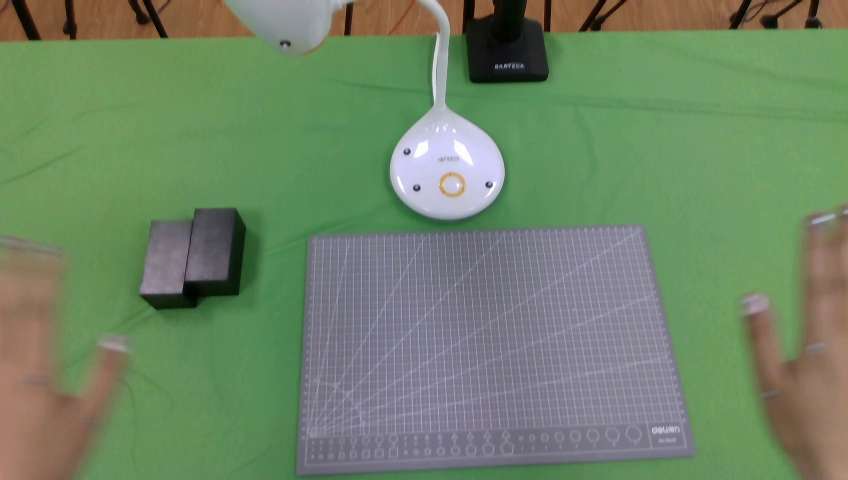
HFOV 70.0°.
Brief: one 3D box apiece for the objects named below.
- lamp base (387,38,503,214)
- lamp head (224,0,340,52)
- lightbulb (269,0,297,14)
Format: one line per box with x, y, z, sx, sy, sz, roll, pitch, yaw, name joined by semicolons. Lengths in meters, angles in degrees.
0.026;-0.151;0.774;0.161;0.181;0.177;-14;62;-8;lamp base
-0.134;-0.243;0.575;0.112;0.124;0.111;-6;65;13;lamp head
-0.142;-0.247;0.551;0.059;0.108;0.059;-2;69;7;lightbulb
